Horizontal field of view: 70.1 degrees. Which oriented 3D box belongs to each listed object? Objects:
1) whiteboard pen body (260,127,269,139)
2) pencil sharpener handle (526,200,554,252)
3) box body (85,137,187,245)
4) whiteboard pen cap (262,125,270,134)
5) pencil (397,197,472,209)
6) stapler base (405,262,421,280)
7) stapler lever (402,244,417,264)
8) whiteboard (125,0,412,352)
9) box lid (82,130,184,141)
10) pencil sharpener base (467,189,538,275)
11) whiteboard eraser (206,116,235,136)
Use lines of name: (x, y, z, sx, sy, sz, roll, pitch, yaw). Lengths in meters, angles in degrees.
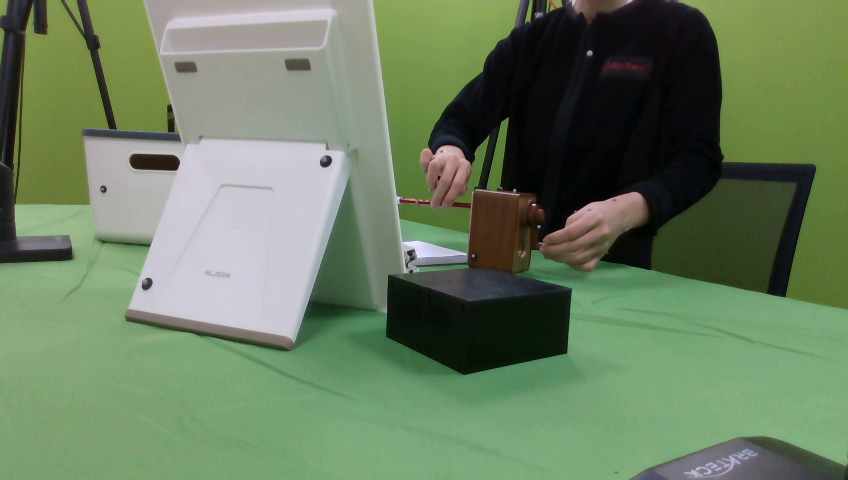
whiteboard pen body: (-0.366, -0.247, 1.392, 0.017, 0.017, 0.140, 0, 3, -17)
pencil sharpener handle: (0.152, -0.018, 0.781, 0.030, 0.068, 0.036, 9, 21, 33)
box body: (-0.340, -0.088, 1.022, 0.254, 0.160, 0.364, 4, 7, 11)
whiteboard pen cap: (-0.349, -0.244, 1.336, 0.018, 0.018, 0.033, 0, 2, -17)
pencil: (0.020, -0.052, 0.867, 0.193, 0.012, 0.012, 7, 9, 36)
stapler base: (-0.069, 0.027, 0.759, 0.130, 0.024, 0.041, 9, 13, 23)
stapler lever: (-0.066, 0.003, 0.755, 0.117, 0.040, 0.027, 9, 13, 23)
whiteboard: (-0.151, -0.049, 0.472, 0.216, 0.305, 0.144, 6, 27, 24)
box lid: (-0.337, -0.161, 1.011, 0.263, 0.015, 0.372, 4, 7, 11)
pencil sharpener base: (0.107, -0.012, 0.807, 0.076, 0.107, 0.061, 9, 9, 33)
whiteboard eraser: (-0.450, -0.252, 1.335, 0.056, 0.042, 0.112, 1, 7, -22)
